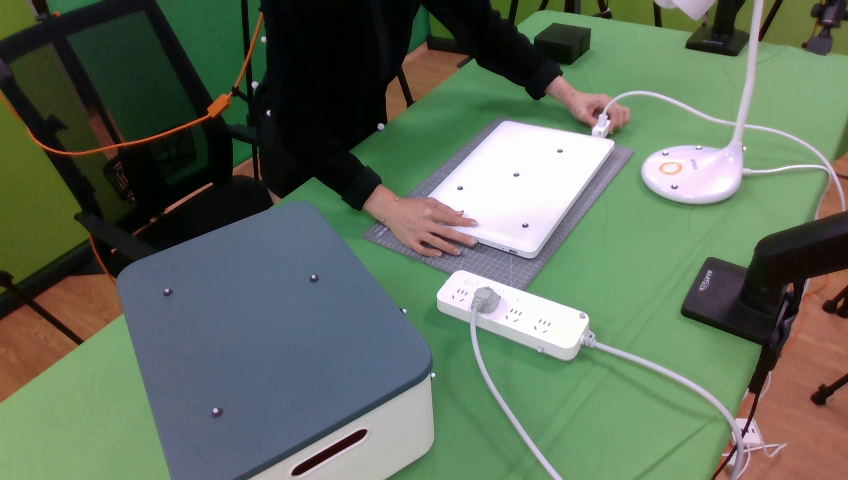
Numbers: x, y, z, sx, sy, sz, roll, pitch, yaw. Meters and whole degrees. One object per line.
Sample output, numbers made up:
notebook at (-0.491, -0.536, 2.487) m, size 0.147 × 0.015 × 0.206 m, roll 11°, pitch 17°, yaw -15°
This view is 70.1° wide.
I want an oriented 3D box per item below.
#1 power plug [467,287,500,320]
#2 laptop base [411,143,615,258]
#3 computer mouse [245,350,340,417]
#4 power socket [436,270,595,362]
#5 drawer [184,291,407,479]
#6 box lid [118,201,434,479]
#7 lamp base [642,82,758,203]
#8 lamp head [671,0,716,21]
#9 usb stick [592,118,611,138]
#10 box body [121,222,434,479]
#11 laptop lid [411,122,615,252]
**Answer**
power plug at (0.073, 0.092, 0.814) m, size 0.035 × 0.053 × 0.073 m, roll 29°, pitch 54°, yaw 34°
laptop base at (0.167, -0.103, 1.074) m, size 0.234 × 0.023 × 0.355 m, roll 16°, pitch 45°, yaw 30°
computer mouse at (-0.165, 0.173, 0.754) m, size 0.118 × 0.041 × 0.062 m, roll -18°, pitch 33°, yaw -18°
power socket at (0.118, 0.101, 0.832) m, size 0.225 × 0.033 × 0.072 m, roll 19°, pitch 48°, yaw 27°
drawer at (-0.155, 0.180, 0.720) m, size 0.195 × 0.073 × 0.210 m, roll -27°, pitch 40°, yaw -21°
box lid at (-0.182, 0.087, 0.675) m, size 0.264 × 0.015 × 0.368 m, roll -25°, pitch 42°, yaw -20°
lamp base at (0.464, -0.174, 0.993) m, size 0.179 × 0.181 × 0.159 m, roll -5°, pitch 41°, yaw -1°
lamp head at (0.375, -0.373, 0.808) m, size 0.122 × 0.113 × 0.112 m, roll -40°, pitch 27°, yaw 32°
usb stick at (0.335, -0.206, 1.153) m, size 0.021 × 0.027 × 0.059 m, roll 22°, pitch 51°, yaw 22°
box body at (-0.175, 0.142, 0.725) m, size 0.255 × 0.161 × 0.360 m, roll -25°, pitch 43°, yaw -20°
laptop lid at (0.164, -0.112, 1.069) m, size 0.240 × 0.013 × 0.357 m, roll 19°, pitch 46°, yaw 31°
